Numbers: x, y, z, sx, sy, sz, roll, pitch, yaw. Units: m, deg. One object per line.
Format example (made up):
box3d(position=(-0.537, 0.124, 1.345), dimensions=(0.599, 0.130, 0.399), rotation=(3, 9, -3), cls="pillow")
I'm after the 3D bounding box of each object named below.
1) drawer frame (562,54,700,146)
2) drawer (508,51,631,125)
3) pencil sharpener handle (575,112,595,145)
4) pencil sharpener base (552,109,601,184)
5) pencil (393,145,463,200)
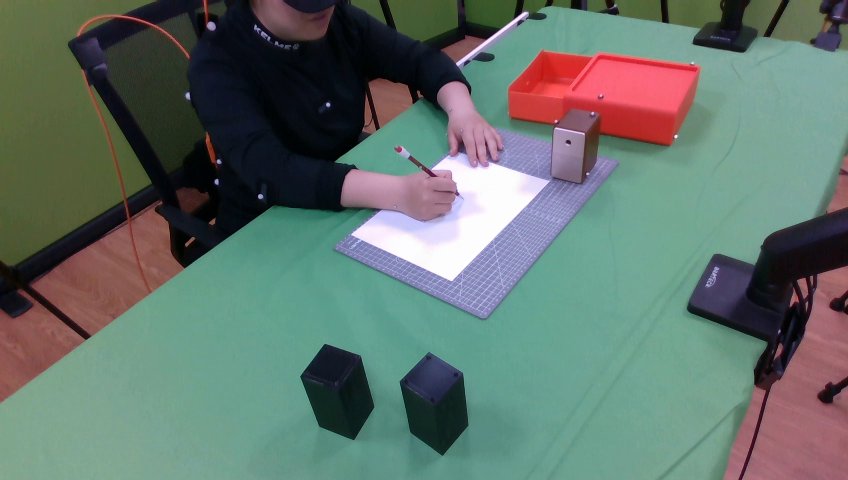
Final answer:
box3d(position=(0.407, -0.282, 1.195), dimensions=(0.212, 0.083, 0.202), rotation=(17, 45, 25), cls="drawer frame")
box3d(position=(0.305, -0.310, 1.246), dimensions=(0.210, 0.073, 0.195), rotation=(16, 45, 25), cls="drawer")
box3d(position=(0.290, -0.203, 1.077), dimensions=(0.036, 0.068, 0.031), rotation=(19, 47, 25), cls="pencil sharpener handle")
box3d(position=(0.265, -0.163, 1.053), dimensions=(0.061, 0.107, 0.077), rotation=(17, 46, 27), cls="pencil sharpener base")
box3d(position=(0.012, -0.105, 0.980), dimensions=(0.012, 0.196, 0.012), rotation=(-16, 60, 31), cls="pencil")
